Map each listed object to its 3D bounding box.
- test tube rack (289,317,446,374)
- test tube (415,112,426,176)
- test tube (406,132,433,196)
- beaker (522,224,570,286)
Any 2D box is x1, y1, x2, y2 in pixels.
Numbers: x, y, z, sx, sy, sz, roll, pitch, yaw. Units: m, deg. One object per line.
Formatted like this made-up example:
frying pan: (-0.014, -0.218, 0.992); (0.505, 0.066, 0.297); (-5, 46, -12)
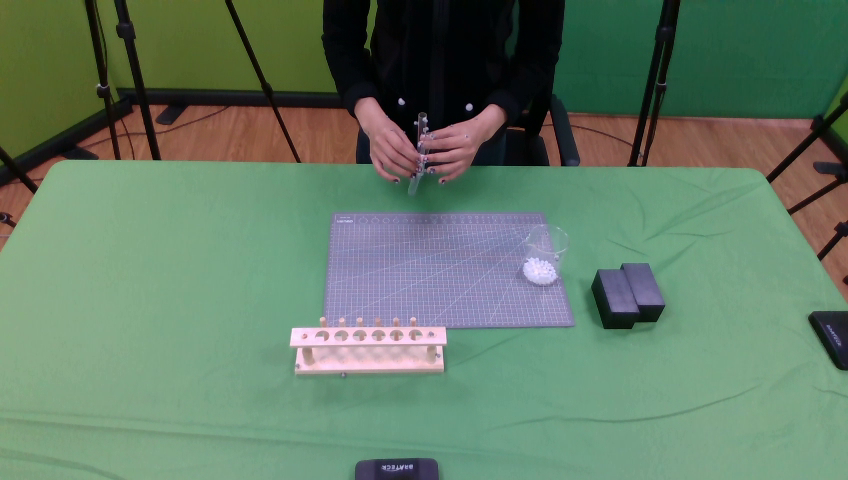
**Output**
test tube rack: (-0.089, 0.167, 0.988); (0.242, 0.085, 0.066); (0, 46, -4)
test tube: (-0.007, -0.174, 1.121); (0.017, 0.151, 0.017); (1, 51, -1)
test tube: (-0.009, -0.138, 1.119); (0.017, 0.151, 0.017); (10, 46, -11)
beaker: (0.221, 0.032, 1.129); (0.084, 0.101, 0.073); (-6, 46, -9)
